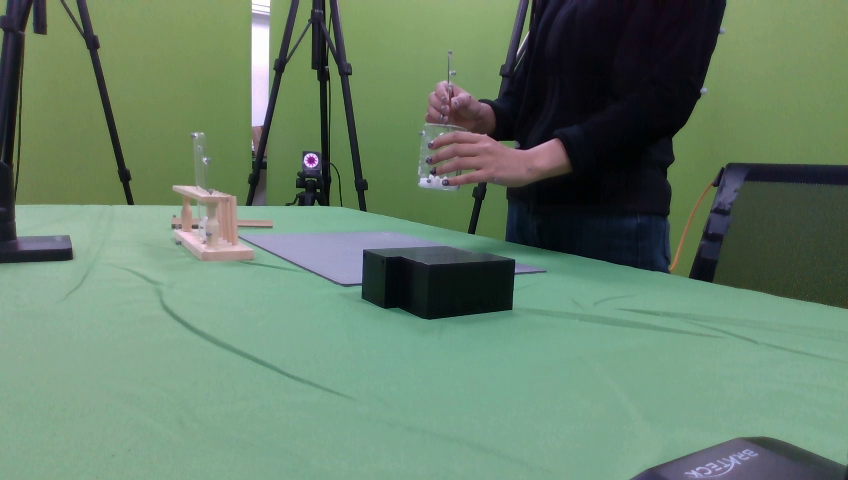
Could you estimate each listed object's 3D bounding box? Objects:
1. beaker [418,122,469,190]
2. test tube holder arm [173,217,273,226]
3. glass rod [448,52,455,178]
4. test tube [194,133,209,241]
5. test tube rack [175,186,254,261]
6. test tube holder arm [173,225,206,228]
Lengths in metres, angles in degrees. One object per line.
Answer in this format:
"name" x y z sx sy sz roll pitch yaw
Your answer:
"beaker" 0.028 -0.133 0.965 0.074 0.100 0.083 5 4 -14
"test tube holder arm" -0.371 -0.033 1.128 0.179 0.015 0.013 -1 -22 -25
"glass rod" 0.045 -0.200 0.973 0.008 0.199 0.008 -2 6 1
"test tube" -0.307 -0.074 0.842 0.017 0.150 0.017 -3 2 0
"test tube rack" -0.314 -0.031 0.889 0.067 0.085 0.241 -2 8 -30
"test tube holder arm" -0.415 -0.030 1.113 0.088 0.015 0.010 -1 -22 -25
